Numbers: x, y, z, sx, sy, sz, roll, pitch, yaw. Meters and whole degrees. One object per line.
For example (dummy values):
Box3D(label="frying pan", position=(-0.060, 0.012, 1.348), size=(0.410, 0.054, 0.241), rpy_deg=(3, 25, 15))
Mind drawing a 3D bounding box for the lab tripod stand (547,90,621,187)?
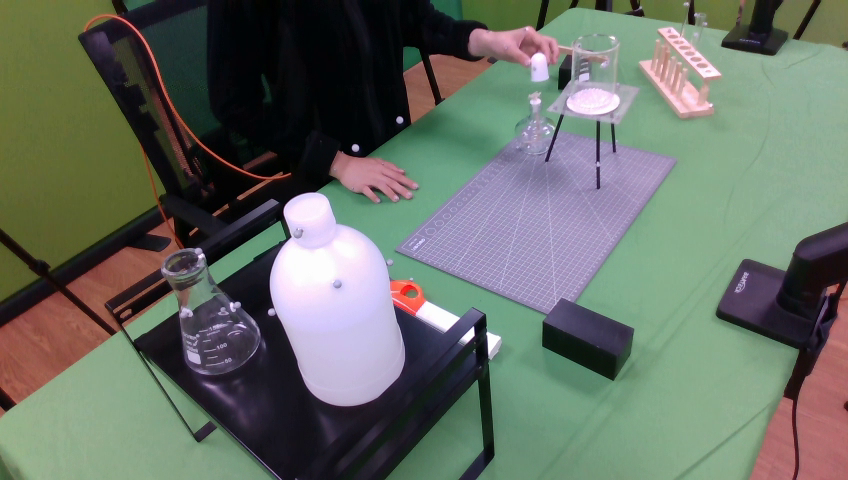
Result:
Box3D(label="lab tripod stand", position=(0.289, -0.184, 1.062), size=(0.148, 0.132, 0.147), rpy_deg=(-6, 41, 6))

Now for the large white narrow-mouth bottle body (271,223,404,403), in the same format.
Box3D(label="large white narrow-mouth bottle body", position=(-0.077, 0.048, 0.525), size=(0.102, 0.195, 0.101), rpy_deg=(-5, 40, 5))

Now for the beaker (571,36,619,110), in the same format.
Box3D(label="beaker", position=(0.281, -0.273, 0.992), size=(0.084, 0.101, 0.073), rpy_deg=(-24, 42, -16))

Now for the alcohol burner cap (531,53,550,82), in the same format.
Box3D(label="alcohol burner cap", position=(0.205, -0.307, 1.073), size=(0.034, 0.048, 0.033), rpy_deg=(-8, 28, 5))

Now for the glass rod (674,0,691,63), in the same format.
Box3D(label="glass rod", position=(0.537, -0.437, 1.257), size=(0.008, 0.200, 0.008), rpy_deg=(0, 39, 1))

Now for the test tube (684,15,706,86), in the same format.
Box3D(label="test tube", position=(0.541, -0.378, 1.216), size=(0.017, 0.151, 0.017), rpy_deg=(-2, 44, 3))

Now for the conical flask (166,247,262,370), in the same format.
Box3D(label="conical flask", position=(-0.209, 0.064, 0.585), size=(0.075, 0.122, 0.075), rpy_deg=(-5, 40, 4))

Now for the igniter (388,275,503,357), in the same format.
Box3D(label="igniter", position=(-0.008, 0.093, 0.870), size=(0.274, 0.025, 0.057), rpy_deg=(24, 60, 33))

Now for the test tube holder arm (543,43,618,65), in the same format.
Box3D(label="test tube holder arm", position=(0.344, -0.413, 1.341), size=(0.177, 0.015, 0.013), rpy_deg=(25, 50, 31))

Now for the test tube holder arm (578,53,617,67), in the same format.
Box3D(label="test tube holder arm", position=(0.375, -0.393, 1.314), size=(0.087, 0.015, 0.010), rpy_deg=(26, 51, 32))

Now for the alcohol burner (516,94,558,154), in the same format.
Box3D(label="alcohol burner", position=(0.212, -0.222, 1.134), size=(0.078, 0.119, 0.077), rpy_deg=(-5, 43, 5))

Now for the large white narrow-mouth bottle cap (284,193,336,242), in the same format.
Box3D(label="large white narrow-mouth bottle cap", position=(-0.087, -0.018, 0.467), size=(0.038, 0.024, 0.037), rpy_deg=(-5, 40, 4))

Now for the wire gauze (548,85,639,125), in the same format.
Box3D(label="wire gauze", position=(0.286, -0.233, 1.020), size=(0.124, 0.011, 0.122), rpy_deg=(15, 43, 30))

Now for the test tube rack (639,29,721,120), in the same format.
Box3D(label="test tube rack", position=(0.527, -0.351, 1.262), size=(0.067, 0.085, 0.241), rpy_deg=(-8, 40, 1))
